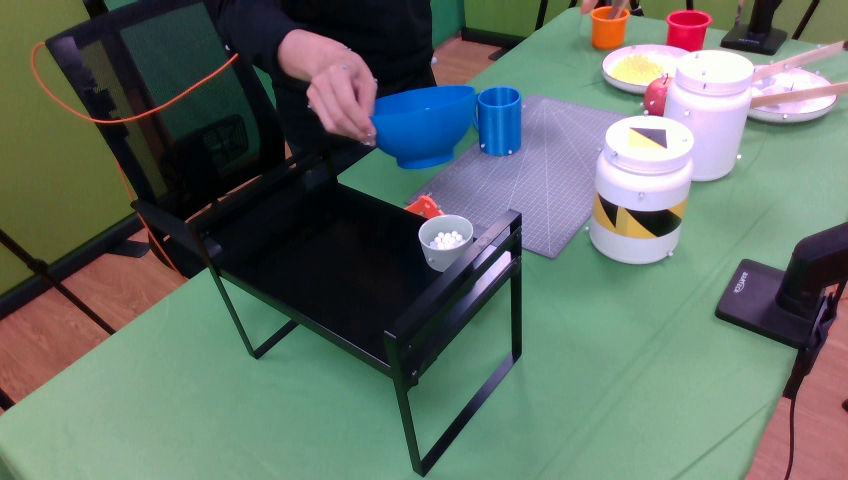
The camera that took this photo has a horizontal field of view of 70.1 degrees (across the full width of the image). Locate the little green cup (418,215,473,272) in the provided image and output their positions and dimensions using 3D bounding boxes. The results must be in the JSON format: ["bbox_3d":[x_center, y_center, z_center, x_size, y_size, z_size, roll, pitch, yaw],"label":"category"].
[{"bbox_3d":[0.026,0.005,0.678,0.061,0.039,0.061,-4,40,4],"label":"little green cup"}]

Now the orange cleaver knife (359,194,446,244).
[{"bbox_3d":[-0.032,-0.026,0.964,0.210,0.077,0.012,-9,29,51],"label":"orange cleaver knife"}]

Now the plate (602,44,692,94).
[{"bbox_3d":[0.495,-0.367,1.317,0.209,0.038,0.208,-4,40,4],"label":"plate"}]

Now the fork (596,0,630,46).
[{"bbox_3d":[0.481,-0.556,1.452,0.028,0.019,0.207,40,103,40],"label":"fork"}]

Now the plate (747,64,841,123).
[{"bbox_3d":[0.694,-0.283,1.189,0.207,0.039,0.206,-4,40,4],"label":"plate"}]

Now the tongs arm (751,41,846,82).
[{"bbox_3d":[0.708,-0.331,1.194,0.386,0.026,0.050,-19,45,-16],"label":"tongs arm"}]

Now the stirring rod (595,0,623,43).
[{"bbox_3d":[0.460,-0.556,1.459,0.014,0.006,0.176,30,93,23],"label":"stirring rod"}]

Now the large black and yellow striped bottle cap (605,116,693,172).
[{"bbox_3d":[0.309,-0.134,0.833,0.115,0.019,0.114,-5,40,5],"label":"large black and yellow striped bottle cap"}]

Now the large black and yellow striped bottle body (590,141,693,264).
[{"bbox_3d":[0.317,-0.071,0.889,0.131,0.185,0.130,-4,41,4],"label":"large black and yellow striped bottle body"}]

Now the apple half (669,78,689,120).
[{"bbox_3d":[0.498,-0.273,1.180,0.032,0.082,0.081,7,42,25],"label":"apple half"}]

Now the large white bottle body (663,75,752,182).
[{"bbox_3d":[0.472,-0.207,1.022,0.130,0.185,0.130,-4,41,4],"label":"large white bottle body"}]

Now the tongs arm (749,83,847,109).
[{"bbox_3d":[0.734,-0.280,1.134,0.388,0.028,0.028,-9,47,-5],"label":"tongs arm"}]

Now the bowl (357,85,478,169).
[{"bbox_3d":[-0.002,-0.138,0.756,0.151,0.077,0.151,-9,23,4],"label":"bowl"}]

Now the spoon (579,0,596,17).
[{"bbox_3d":[0.291,-0.477,1.019,0.022,0.194,0.041,2,15,-18],"label":"spoon"}]

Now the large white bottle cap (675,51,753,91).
[{"bbox_3d":[0.463,-0.271,0.967,0.115,0.018,0.114,-4,40,3],"label":"large white bottle cap"}]

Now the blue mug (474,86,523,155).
[{"bbox_3d":[0.135,-0.235,1.163,0.082,0.106,0.115,-36,48,-29],"label":"blue mug"}]

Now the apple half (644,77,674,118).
[{"bbox_3d":[0.463,-0.279,1.194,0.053,0.075,0.081,8,46,24],"label":"apple half"}]
